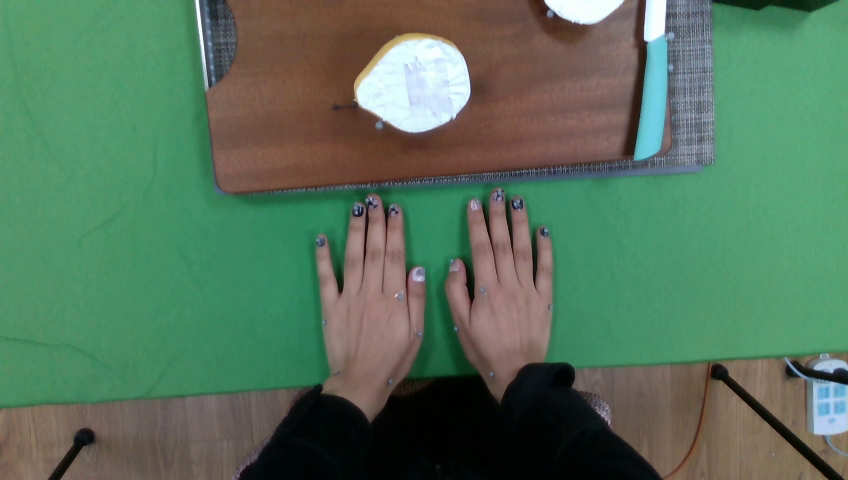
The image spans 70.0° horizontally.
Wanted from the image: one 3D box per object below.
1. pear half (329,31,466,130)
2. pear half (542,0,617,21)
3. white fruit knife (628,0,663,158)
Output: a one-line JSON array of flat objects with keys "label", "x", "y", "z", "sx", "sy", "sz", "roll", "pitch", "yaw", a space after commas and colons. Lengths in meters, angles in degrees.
[{"label": "pear half", "x": -0.025, "y": -0.127, "z": 0.492, "sx": 0.110, "sy": 0.055, "sz": 0.077, "roll": -13, "pitch": 114, "yaw": -6}, {"label": "pear half", "x": 0.126, "y": -0.224, "z": 0.506, "sx": 0.070, "sy": 0.031, "sz": 0.088, "roll": -42, "pitch": 84, "yaw": 15}, {"label": "white fruit knife", "x": 0.197, "y": -0.174, "z": 0.525, "sx": 0.027, "sy": 0.016, "sz": 0.207, "roll": 3, "pitch": 93, "yaw": -20}]
